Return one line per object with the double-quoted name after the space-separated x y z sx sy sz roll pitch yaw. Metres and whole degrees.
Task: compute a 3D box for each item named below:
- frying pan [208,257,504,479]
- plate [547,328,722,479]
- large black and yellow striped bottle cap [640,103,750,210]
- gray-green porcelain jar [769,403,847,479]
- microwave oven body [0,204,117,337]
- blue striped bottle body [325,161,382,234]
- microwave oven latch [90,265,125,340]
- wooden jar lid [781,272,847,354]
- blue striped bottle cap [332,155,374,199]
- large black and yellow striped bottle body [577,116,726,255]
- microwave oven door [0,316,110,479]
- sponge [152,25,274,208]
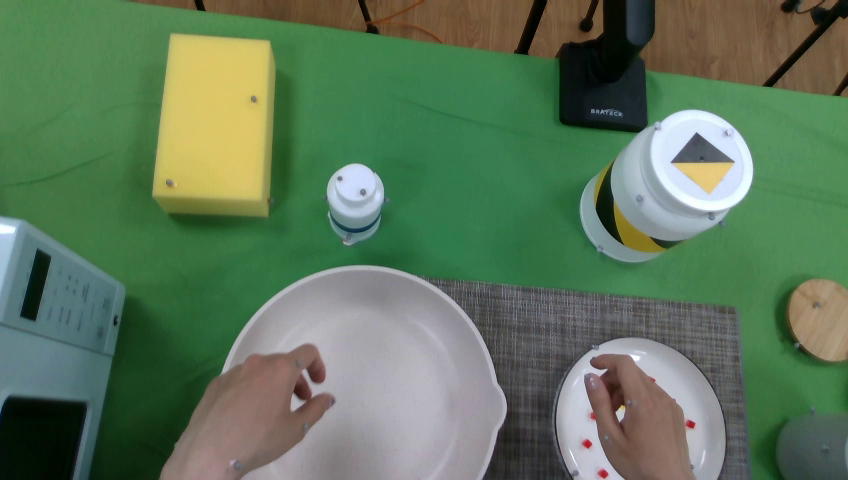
-0.075 0.261 0.618 0.307 0.103 0.484 5 67 -4 "frying pan"
0.243 0.208 0.710 0.209 0.038 0.208 2 75 -7 "plate"
0.285 -0.088 0.635 0.115 0.019 0.114 2 76 -7 "large black and yellow striped bottle cap"
0.474 0.240 0.692 0.106 0.127 0.105 2 75 -7 "gray-green porcelain jar"
-0.492 0.194 0.494 0.327 0.261 0.439 6 75 -7 "microwave oven body"
-0.081 -0.053 0.694 0.063 0.121 0.062 2 74 -7 "blue striped bottle body"
-0.343 0.067 0.649 0.030 0.029 0.078 7 75 -6 "microwave oven latch"
0.515 0.095 0.792 0.108 0.021 0.108 2 76 -7 "wooden jar lid"
-0.075 -0.068 0.646 0.045 0.020 0.044 2 76 -8 "blue striped bottle cap"
0.273 -0.065 0.715 0.131 0.184 0.130 2 74 -7 "large black and yellow striped bottle body"
-0.352 0.249 0.494 0.039 0.244 0.354 6 74 -6 "microwave oven door"
-0.248 -0.147 0.726 0.118 0.061 0.205 1 76 -8 "sponge"
